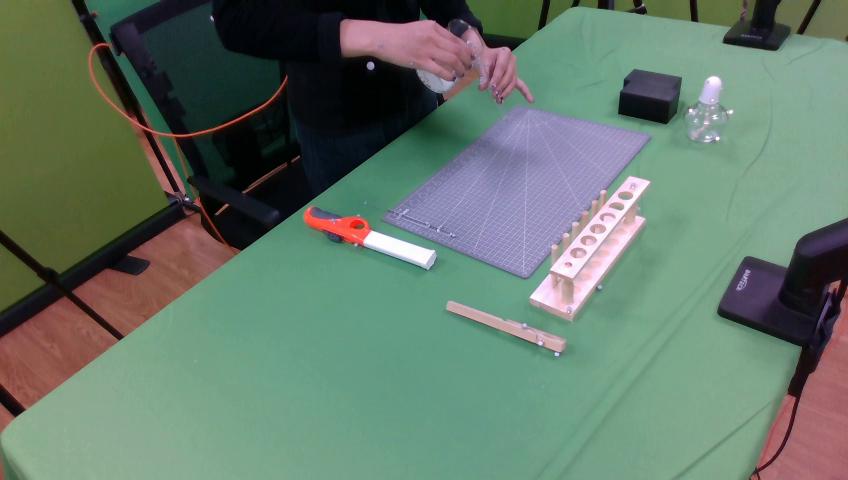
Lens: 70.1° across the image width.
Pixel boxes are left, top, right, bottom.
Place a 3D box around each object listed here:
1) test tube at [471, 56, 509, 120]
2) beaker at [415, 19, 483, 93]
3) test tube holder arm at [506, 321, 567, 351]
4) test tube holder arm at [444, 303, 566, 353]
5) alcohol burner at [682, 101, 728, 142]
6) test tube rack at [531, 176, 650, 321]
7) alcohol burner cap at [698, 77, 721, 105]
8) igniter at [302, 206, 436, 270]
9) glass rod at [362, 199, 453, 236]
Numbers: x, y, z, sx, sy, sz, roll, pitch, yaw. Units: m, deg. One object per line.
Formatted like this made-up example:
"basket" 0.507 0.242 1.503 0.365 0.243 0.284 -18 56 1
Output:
"test tube" 0.121 -0.270 1.085 0.017 0.151 0.017 -17 50 21
"beaker" 0.040 -0.298 0.995 0.073 0.084 0.100 25 71 44
"test tube holder arm" 0.148 0.128 0.808 0.087 0.015 0.010 16 10 28
"test tube holder arm" 0.106 0.117 0.823 0.177 0.015 0.013 16 10 27
"alcohol burner" 0.513 -0.239 1.097 0.078 0.119 0.077 -4 40 4
"test tube rack" 0.246 0.002 0.884 0.066 0.085 0.243 22 49 32
"alcohol burner cap" 0.509 -0.266 1.072 0.034 0.048 0.033 -4 48 5
"igniter" -0.101 -0.007 1.004 0.274 0.025 0.057 20 58 29
"glass rod" -0.032 -0.041 1.041 0.198 0.008 0.008 22 50 31
